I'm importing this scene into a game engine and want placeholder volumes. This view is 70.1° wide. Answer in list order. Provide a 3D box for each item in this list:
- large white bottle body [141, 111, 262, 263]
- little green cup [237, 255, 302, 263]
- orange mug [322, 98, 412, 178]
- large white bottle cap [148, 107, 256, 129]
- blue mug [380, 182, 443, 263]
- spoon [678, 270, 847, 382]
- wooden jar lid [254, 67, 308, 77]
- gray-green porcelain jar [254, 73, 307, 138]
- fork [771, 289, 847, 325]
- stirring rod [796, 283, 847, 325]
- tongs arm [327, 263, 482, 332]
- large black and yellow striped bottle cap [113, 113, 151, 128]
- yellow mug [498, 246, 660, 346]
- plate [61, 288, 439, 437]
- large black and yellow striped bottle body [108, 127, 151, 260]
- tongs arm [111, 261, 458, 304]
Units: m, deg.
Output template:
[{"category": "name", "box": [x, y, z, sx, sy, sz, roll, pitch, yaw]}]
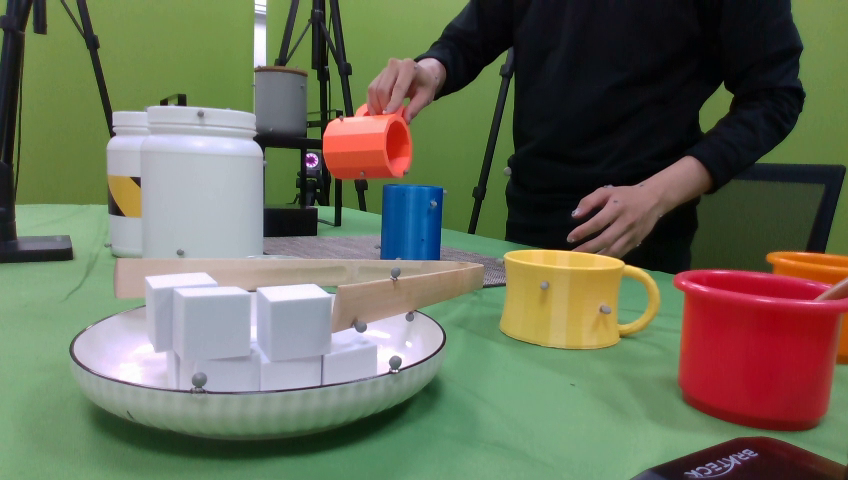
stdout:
[{"category": "large white bottle body", "box": [-0.254, -0.053, 0.697, 0.131, 0.184, 0.130, 2, 7, 0]}, {"category": "little green cup", "box": [-0.150, 0.038, 0.590, 0.061, 0.038, 0.061, 3, 7, 0]}, {"category": "orange mug", "box": [-0.073, -0.146, 0.849, 0.100, 0.126, 0.084, 5, -28, 28]}, {"category": "large white bottle cap", "box": [-0.250, -0.137, 0.686, 0.115, 0.018, 0.115, 3, 8, 0]}, {"category": "blue mug", "box": [-0.019, -0.026, 0.833, 0.082, 0.106, 0.116, 1, 7, -7]}, {"category": "spoon", "box": [0.229, 0.031, 0.338, 0.193, 0.021, 0.042, -44, -17, 27]}, {"category": "wooden jar lid", "box": [-0.296, -0.339, 1.251, 0.108, 0.020, 0.108, 2, 7, 0]}, {"category": "gray-green porcelain jar", "box": [-0.298, -0.277, 1.259, 0.106, 0.126, 0.106, 3, 8, 0]}, {"category": "fork", "box": [0.335, 0.018, 0.443, 0.028, 0.018, 0.207, -1, -36, -20]}, {"category": "stirring rod", "box": [0.347, 0.019, 0.460, 0.014, 0.176, 0.006, -17, 59, -26]}, {"category": "tongs arm", "box": [-0.003, 0.036, 0.493, 0.050, 0.026, 0.386, 1, 0, 19]}, {"category": "large black and yellow striped bottle cap", "box": [-0.348, -0.154, 0.800, 0.115, 0.019, 0.115, 2, 6, 0]}, {"category": "yellow mug", "box": [0.130, 0.045, 0.508, 0.131, 0.064, 0.100, 4, 7, 6]}, {"category": "plate", "box": [-0.095, 0.069, 0.362, 0.208, 0.039, 0.207, 3, 7, 0]}, {"category": "large black and yellow striped bottle body", "box": [-0.350, -0.071, 0.812, 0.131, 0.184, 0.130, 2, 8, 0]}, {"category": "tongs arm", "box": [-0.080, 0.032, 0.527, 0.028, 0.027, 0.389, -3, -3, 33]}]
